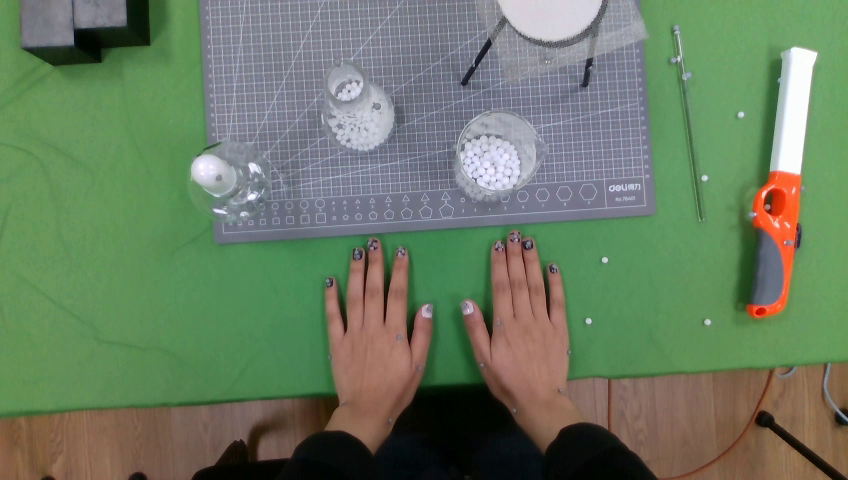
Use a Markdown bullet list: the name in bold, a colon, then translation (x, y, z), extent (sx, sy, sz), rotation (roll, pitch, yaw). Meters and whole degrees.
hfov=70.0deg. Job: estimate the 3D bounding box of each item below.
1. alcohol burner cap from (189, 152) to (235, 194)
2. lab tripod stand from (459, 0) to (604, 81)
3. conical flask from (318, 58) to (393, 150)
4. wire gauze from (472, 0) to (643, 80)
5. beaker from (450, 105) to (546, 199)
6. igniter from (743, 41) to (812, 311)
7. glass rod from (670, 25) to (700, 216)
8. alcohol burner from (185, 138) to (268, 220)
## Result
- **alcohol burner cap**: translation (-0.184, -0.060, 0.521), extent (0.034, 0.048, 0.034), rotation (0, 86, -6)
- **lab tripod stand**: translation (0.101, -0.201, 0.557), extent (0.148, 0.131, 0.148), rotation (0, 90, -1)
- **conical flask**: translation (-0.068, -0.129, 0.558), extent (0.075, 0.122, 0.075), rotation (0, 88, -1)
- **wire gauze**: translation (0.101, -0.204, 0.490), extent (0.125, 0.011, 0.121), rotation (-21, 91, -1)
- **beaker**: translation (0.064, -0.078, 0.571), extent (0.084, 0.100, 0.074), rotation (-6, 89, -2)
- **igniter**: translation (0.361, -0.063, 0.617), extent (0.057, 0.025, 0.276), rotation (8, 89, -11)
- **glass rod**: translation (0.269, -0.124, 0.625), extent (0.008, 0.008, 0.199), rotation (-7, 89, -2)
- **alcohol burner**: translation (-0.186, -0.058, 0.558), extent (0.078, 0.119, 0.078), rotation (0, 90, -3)
